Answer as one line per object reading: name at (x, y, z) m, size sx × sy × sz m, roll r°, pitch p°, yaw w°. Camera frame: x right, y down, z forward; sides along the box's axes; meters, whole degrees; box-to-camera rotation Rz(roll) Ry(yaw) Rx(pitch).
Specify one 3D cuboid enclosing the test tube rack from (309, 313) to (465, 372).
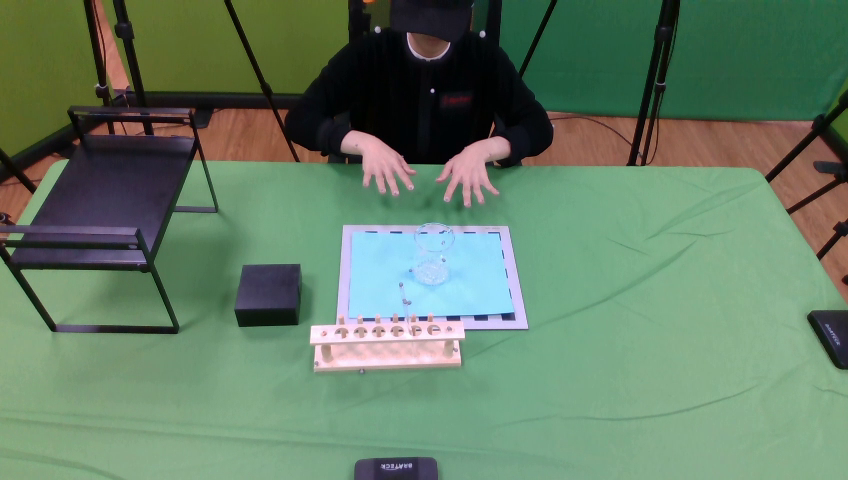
test tube rack at (-0.059, 0.161, 0.990) m, size 0.242 × 0.085 × 0.066 m, roll -1°, pitch 46°, yaw -5°

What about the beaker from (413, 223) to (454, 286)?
beaker at (0.018, 0.027, 1.110) m, size 0.073 × 0.101 × 0.084 m, roll 37°, pitch 54°, yaw 28°

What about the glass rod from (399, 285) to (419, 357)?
glass rod at (-0.022, 0.129, 0.932) m, size 0.008 × 0.201 × 0.008 m, roll -4°, pitch 49°, yaw 5°
